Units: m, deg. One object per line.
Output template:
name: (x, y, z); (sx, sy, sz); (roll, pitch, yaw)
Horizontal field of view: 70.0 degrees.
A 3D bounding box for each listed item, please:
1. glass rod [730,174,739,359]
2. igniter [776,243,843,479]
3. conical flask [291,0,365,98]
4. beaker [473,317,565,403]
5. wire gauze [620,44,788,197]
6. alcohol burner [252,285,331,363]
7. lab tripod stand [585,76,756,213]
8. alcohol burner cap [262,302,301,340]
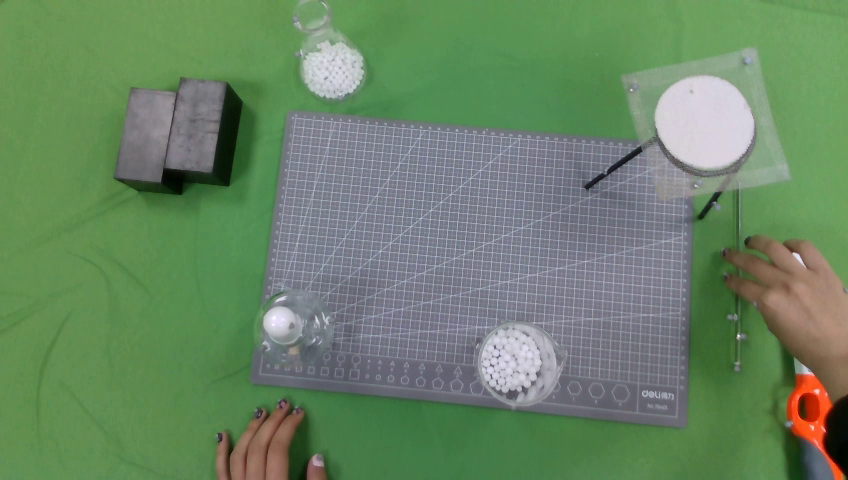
glass rod: (0.330, 0.026, 0.643); (0.008, 0.008, 0.199); (5, 81, 1)
igniter: (0.389, 0.140, 0.614); (0.057, 0.025, 0.275); (0, 81, -10)
conical flask: (-0.104, -0.204, 0.627); (0.075, 0.122, 0.075); (0, 80, 1)
beaker: (0.086, 0.112, 0.584); (0.084, 0.100, 0.073); (-13, 81, -1)
wire gauze: (0.247, -0.105, 0.532); (0.125, 0.011, 0.121); (-11, 82, -1)
alcohol burner: (-0.131, 0.079, 0.584); (0.078, 0.119, 0.077); (0, 79, -1)
lab tripod stand: (0.245, -0.090, 0.598); (0.148, 0.132, 0.148); (0, 82, 0)
alcohol burner cap: (-0.130, 0.071, 0.549); (0.034, 0.048, 0.033); (2, 73, -6)
